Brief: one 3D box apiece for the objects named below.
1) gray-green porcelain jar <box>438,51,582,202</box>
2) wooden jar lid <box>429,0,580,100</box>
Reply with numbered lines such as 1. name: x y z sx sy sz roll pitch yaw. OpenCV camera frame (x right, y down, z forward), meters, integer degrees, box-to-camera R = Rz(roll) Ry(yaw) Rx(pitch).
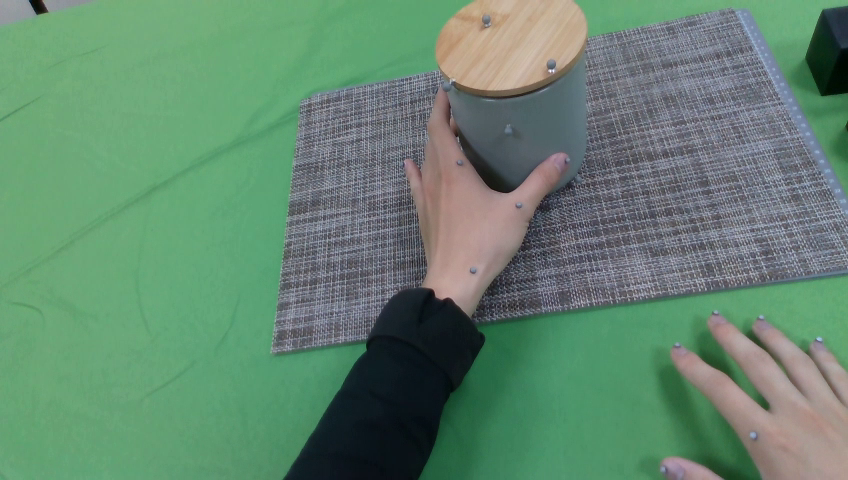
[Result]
1. gray-green porcelain jar: 0.074 -0.101 0.491 0.105 0.128 0.105 -8 54 11
2. wooden jar lid: 0.058 -0.137 0.439 0.108 0.021 0.107 -7 56 11
